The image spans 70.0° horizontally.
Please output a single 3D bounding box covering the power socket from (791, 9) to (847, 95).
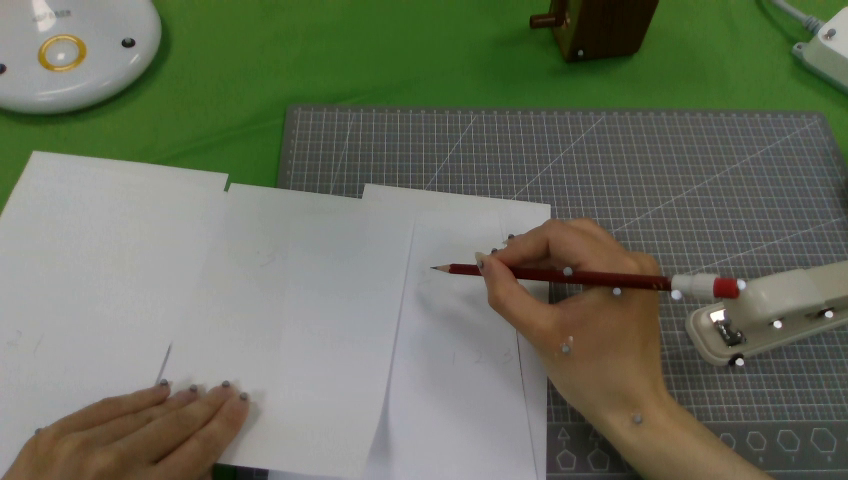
[{"bbox_3d":[0.429,-0.120,0.509,0.072,0.033,0.225,-38,67,-22],"label":"power socket"}]

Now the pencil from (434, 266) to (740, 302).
[{"bbox_3d":[0.074,0.022,0.340,0.193,0.012,0.012,1,49,46],"label":"pencil"}]

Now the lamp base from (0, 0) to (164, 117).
[{"bbox_3d":[-0.310,-0.215,0.453,0.161,0.182,0.177,-28,62,-17],"label":"lamp base"}]

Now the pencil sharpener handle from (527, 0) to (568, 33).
[{"bbox_3d":[0.100,-0.201,0.487,0.031,0.068,0.035,-10,38,-7],"label":"pencil sharpener handle"}]

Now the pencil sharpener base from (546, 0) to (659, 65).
[{"bbox_3d":[0.149,-0.207,0.508,0.077,0.108,0.061,-10,60,-7],"label":"pencil sharpener base"}]

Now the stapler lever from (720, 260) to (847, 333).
[{"bbox_3d":[0.244,0.033,0.386,0.118,0.040,0.026,-14,62,-11],"label":"stapler lever"}]

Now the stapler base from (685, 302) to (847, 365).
[{"bbox_3d":[0.242,0.047,0.407,0.131,0.024,0.041,-14,62,-11],"label":"stapler base"}]
